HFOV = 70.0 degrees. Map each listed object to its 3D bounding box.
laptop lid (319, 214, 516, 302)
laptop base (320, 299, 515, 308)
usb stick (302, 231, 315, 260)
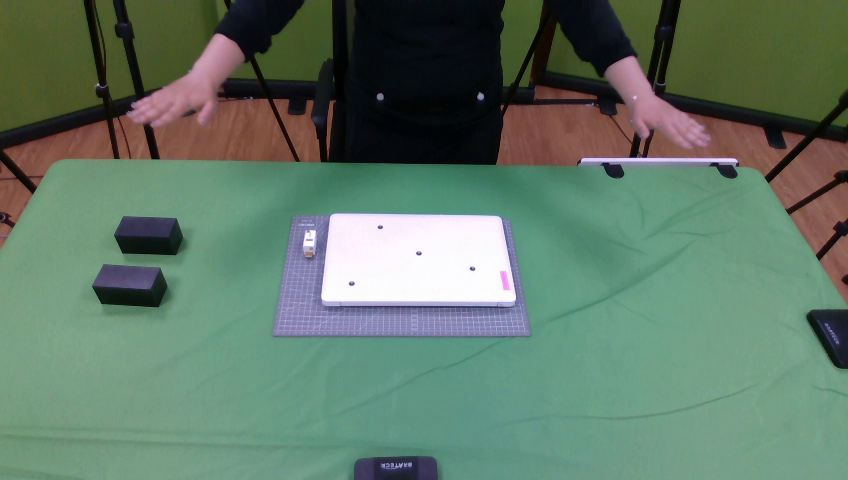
[{"bbox_3d":[-0.013,0.029,1.154,0.357,0.013,0.240,2,43,-3],"label":"laptop lid"},{"bbox_3d":[-0.013,0.039,1.160,0.355,0.023,0.234,0,43,-4],"label":"laptop base"},{"bbox_3d":[-0.223,0.011,1.163,0.021,0.027,0.059,4,48,-7],"label":"usb stick"}]
